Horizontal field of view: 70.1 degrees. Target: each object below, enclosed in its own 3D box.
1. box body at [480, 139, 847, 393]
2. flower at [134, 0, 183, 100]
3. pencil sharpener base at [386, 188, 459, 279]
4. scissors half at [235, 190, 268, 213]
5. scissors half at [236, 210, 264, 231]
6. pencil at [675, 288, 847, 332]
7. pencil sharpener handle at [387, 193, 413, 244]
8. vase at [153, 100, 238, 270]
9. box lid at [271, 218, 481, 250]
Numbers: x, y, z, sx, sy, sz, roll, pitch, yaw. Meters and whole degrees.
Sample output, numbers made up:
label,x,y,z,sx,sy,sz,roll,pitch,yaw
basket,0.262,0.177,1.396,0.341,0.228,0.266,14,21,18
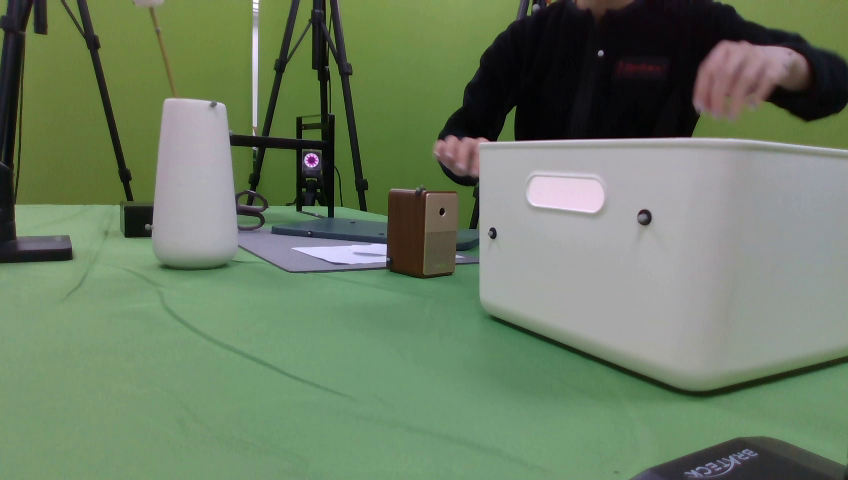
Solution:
label,x,y,z,sx,sy,sz,roll,pitch,yaw
box body,0.255,0.001,0.541,0.366,0.160,0.253,-2,9,-31
flower,-0.282,-0.147,0.713,0.038,0.362,0.044,-23,24,-31
pencil sharpener base,-0.004,-0.011,0.761,0.062,0.107,0.076,-5,10,-44
scissors half,-0.363,-0.070,1.060,0.176,0.040,0.013,0,16,-23
scissors half,-0.369,-0.051,1.065,0.176,0.040,0.012,19,13,-27
pencil,0.331,0.066,0.609,0.012,0.012,0.193,-1,7,-27
pencil sharpener handle,-0.038,-0.029,0.797,0.036,0.067,0.030,-13,15,-42
vase,-0.278,-0.066,0.736,0.098,0.200,0.098,2,9,0
box lid,-0.072,-0.014,1.141,0.371,0.015,0.264,5,7,16
